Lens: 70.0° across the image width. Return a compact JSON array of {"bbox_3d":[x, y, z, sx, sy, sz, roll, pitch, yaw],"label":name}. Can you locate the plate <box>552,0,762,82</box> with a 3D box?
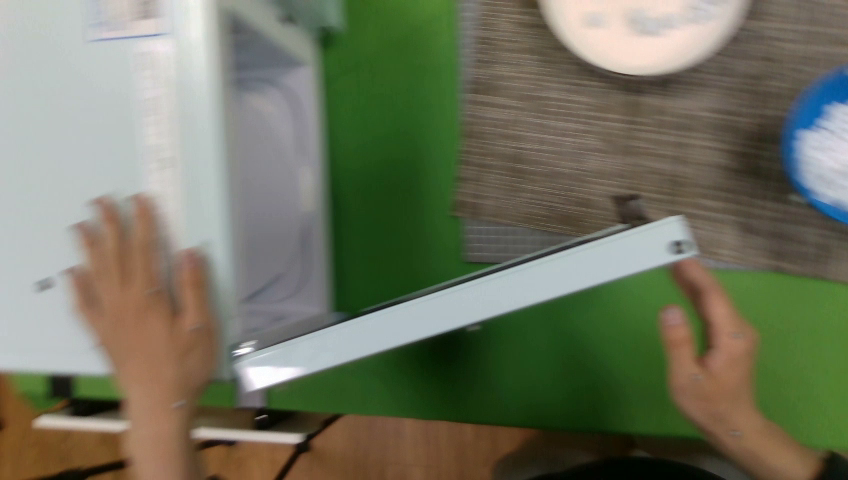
[{"bbox_3d":[0.240,-0.266,0.632,0.209,0.038,0.209,0,89,11],"label":"plate"}]

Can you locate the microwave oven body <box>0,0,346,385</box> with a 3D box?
[{"bbox_3d":[-0.260,-0.101,0.621,0.325,0.260,0.441,-1,91,11],"label":"microwave oven body"}]

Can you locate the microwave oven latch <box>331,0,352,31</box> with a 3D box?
[{"bbox_3d":[-0.097,-0.280,0.684,0.030,0.029,0.079,0,91,11],"label":"microwave oven latch"}]

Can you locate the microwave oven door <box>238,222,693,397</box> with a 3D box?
[{"bbox_3d":[0.042,0.054,0.559,0.355,0.244,0.039,-20,85,11],"label":"microwave oven door"}]

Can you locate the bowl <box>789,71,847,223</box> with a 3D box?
[{"bbox_3d":[0.421,-0.085,0.578,0.151,0.077,0.151,0,91,12],"label":"bowl"}]
